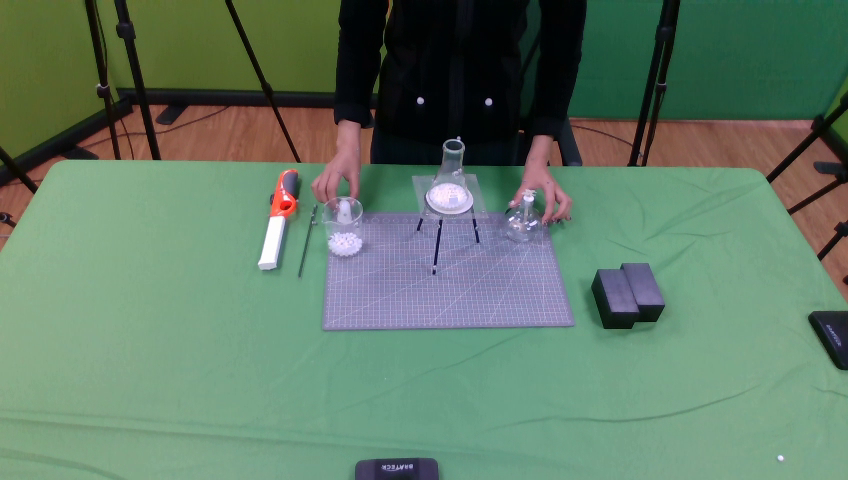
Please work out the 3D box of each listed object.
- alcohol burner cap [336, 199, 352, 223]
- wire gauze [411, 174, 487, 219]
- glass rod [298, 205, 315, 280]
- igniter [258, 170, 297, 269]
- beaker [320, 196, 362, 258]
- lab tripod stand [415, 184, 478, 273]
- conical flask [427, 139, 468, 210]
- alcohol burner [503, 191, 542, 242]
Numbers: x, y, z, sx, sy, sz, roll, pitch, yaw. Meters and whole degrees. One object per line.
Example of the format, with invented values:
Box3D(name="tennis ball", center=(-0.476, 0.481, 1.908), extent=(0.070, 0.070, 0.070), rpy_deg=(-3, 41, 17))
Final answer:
Box3D(name="alcohol burner cap", center=(-0.164, -0.061, 1.228), extent=(0.034, 0.048, 0.033), rpy_deg=(-1, 50, 1))
Box3D(name="wire gauze", center=(0.044, -0.079, 1.107), extent=(0.125, 0.011, 0.120), rpy_deg=(-4, 44, -6))
Box3D(name="glass rod", center=(-0.231, 0.000, 1.191), extent=(0.008, 0.008, 0.198), rpy_deg=(2, 46, -2))
Box3D(name="igniter", center=(-0.293, -0.049, 1.221), extent=(0.057, 0.025, 0.275), rpy_deg=(-5, 45, 5))
Box3D(name="beaker", center=(-0.156, -0.021, 1.150), extent=(0.084, 0.101, 0.073), rpy_deg=(-30, 55, -28))
Box3D(name="lab tripod stand", center=(0.042, -0.031, 1.152), extent=(0.148, 0.132, 0.147), rpy_deg=(3, 44, -3))
Box3D(name="conical flask", center=(0.046, -0.117, 1.061), extent=(0.075, 0.122, 0.075), rpy_deg=(3, 46, -2))
Box3D(name="alcohol burner", center=(0.198, -0.053, 1.199), extent=(0.078, 0.120, 0.077), rpy_deg=(2, 48, -2))
